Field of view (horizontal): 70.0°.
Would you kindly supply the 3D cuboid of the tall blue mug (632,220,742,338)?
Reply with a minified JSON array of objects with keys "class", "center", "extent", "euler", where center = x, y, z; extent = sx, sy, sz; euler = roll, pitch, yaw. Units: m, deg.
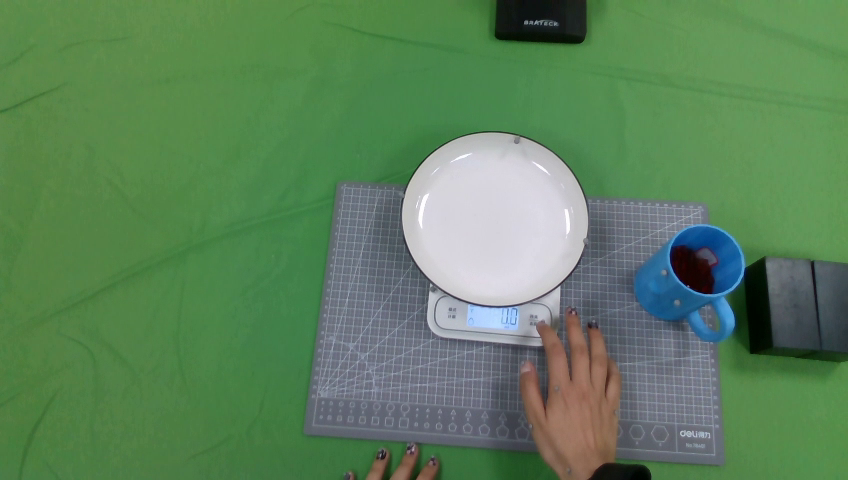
[{"class":"tall blue mug","center":[0.289,0.043,0.647],"extent":[0.106,0.108,0.077],"euler":[39,76,13]}]

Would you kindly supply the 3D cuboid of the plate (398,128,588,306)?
[{"class":"plate","center":[0.076,-0.025,0.678],"extent":[0.209,0.038,0.208],"euler":[0,72,0]}]

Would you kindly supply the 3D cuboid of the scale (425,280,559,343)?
[{"class":"scale","center":[0.083,0.013,0.700],"extent":[0.148,0.032,0.199],"euler":[5,73,3]}]
